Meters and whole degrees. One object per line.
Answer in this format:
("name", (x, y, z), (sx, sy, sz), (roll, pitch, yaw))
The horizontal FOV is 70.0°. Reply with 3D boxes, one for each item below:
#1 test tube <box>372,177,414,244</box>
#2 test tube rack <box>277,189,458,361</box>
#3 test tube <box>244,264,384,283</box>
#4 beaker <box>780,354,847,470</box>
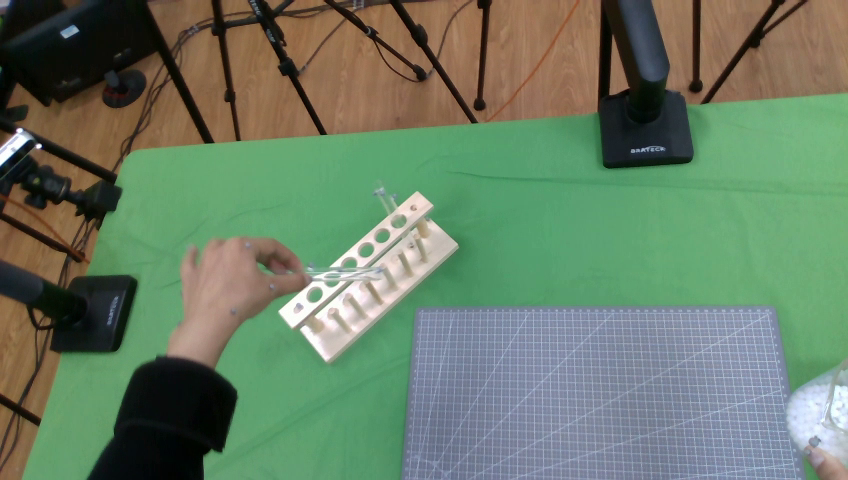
("test tube", (-0.038, -0.035, 0.796), (0.017, 0.152, 0.017), (-7, 60, 12))
("test tube rack", (-0.071, 0.048, 0.819), (0.242, 0.086, 0.066), (-41, 62, -9))
("test tube", (-0.111, 0.034, 0.632), (0.151, 0.017, 0.017), (0, 56, -30))
("beaker", (0.309, 0.127, 0.439), (0.084, 0.101, 0.073), (-18, 63, 1))
